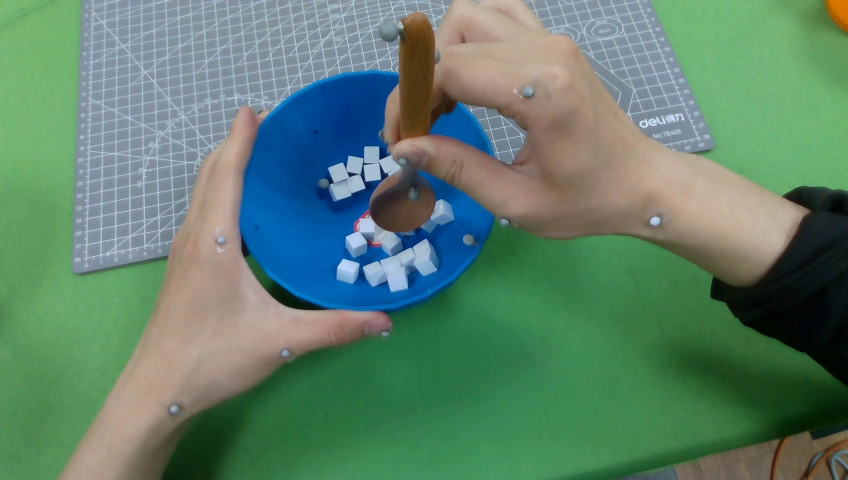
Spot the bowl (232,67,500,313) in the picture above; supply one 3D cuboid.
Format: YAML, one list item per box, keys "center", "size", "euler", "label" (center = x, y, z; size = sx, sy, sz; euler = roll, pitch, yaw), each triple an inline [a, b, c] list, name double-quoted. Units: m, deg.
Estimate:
- center: [-0.031, -0.021, 0.375]
  size: [0.151, 0.077, 0.150]
  euler: [0, 71, 1]
  label: "bowl"

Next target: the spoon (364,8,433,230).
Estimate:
- center: [-0.009, -0.042, 0.288]
  size: [0.042, 0.194, 0.021]
  euler: [-7, 76, -7]
  label: "spoon"
